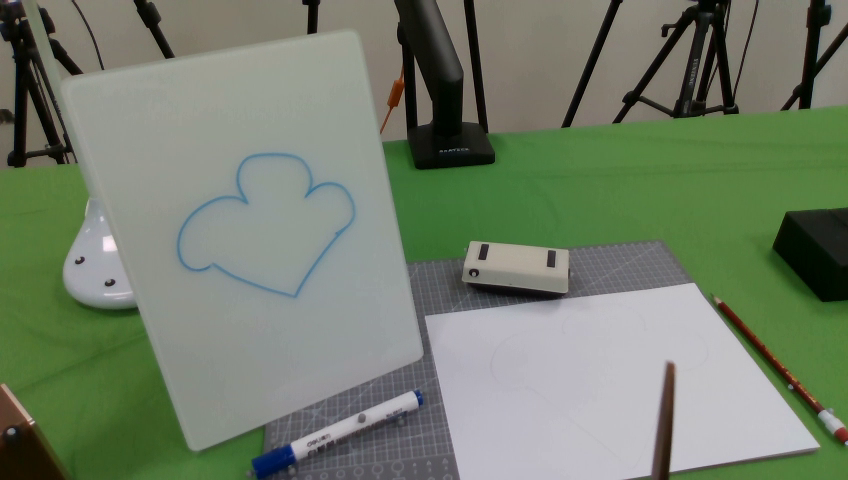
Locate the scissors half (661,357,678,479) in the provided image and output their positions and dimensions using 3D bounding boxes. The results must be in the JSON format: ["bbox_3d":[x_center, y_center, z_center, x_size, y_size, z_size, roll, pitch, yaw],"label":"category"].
[{"bbox_3d":[0.120,0.144,0.327,0.013,0.176,0.040,6,15,2],"label":"scissors half"}]

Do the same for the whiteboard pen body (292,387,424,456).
[{"bbox_3d":[-0.064,0.154,0.502,0.141,0.017,0.017,-18,39,-21],"label":"whiteboard pen body"}]

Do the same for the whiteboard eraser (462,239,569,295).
[{"bbox_3d":[0.100,0.030,0.655,0.112,0.042,0.055,6,37,9],"label":"whiteboard eraser"}]

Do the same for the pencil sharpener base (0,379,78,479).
[{"bbox_3d":[-0.302,0.165,0.425,0.061,0.108,0.076,27,45,32],"label":"pencil sharpener base"}]

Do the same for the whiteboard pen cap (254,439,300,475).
[{"bbox_3d":[-0.116,0.172,0.480,0.033,0.018,0.018,-19,40,-21],"label":"whiteboard pen cap"}]

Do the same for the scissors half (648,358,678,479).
[{"bbox_3d":[0.120,0.147,0.307,0.013,0.175,0.040,5,-1,-3],"label":"scissors half"}]

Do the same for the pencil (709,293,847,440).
[{"bbox_3d":[0.329,0.109,0.574,0.012,0.012,0.192,-9,35,-10],"label":"pencil"}]

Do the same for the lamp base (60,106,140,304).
[{"bbox_3d":[-0.335,-0.047,0.655,0.178,0.182,0.160,19,41,29],"label":"lamp base"}]

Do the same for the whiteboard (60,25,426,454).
[{"bbox_3d":[-0.148,-0.012,0.547,0.218,0.307,0.142,-18,20,-21],"label":"whiteboard"}]
